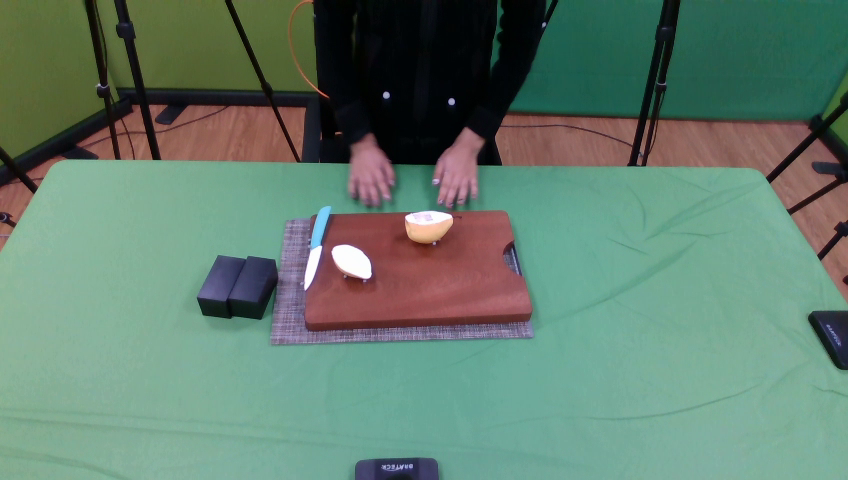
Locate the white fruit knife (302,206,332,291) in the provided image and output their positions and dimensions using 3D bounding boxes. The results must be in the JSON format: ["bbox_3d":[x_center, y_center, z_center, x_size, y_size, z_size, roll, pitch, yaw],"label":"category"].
[{"bbox_3d":[-0.204,0.012,1.136,0.027,0.016,0.206,-5,47,12],"label":"white fruit knife"}]

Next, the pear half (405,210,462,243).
[{"bbox_3d":[0.021,-0.026,1.160,0.110,0.056,0.076,-9,29,-9],"label":"pear half"}]

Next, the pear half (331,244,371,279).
[{"bbox_3d":[-0.133,0.045,1.097,0.070,0.031,0.087,-22,63,-42],"label":"pear half"}]
